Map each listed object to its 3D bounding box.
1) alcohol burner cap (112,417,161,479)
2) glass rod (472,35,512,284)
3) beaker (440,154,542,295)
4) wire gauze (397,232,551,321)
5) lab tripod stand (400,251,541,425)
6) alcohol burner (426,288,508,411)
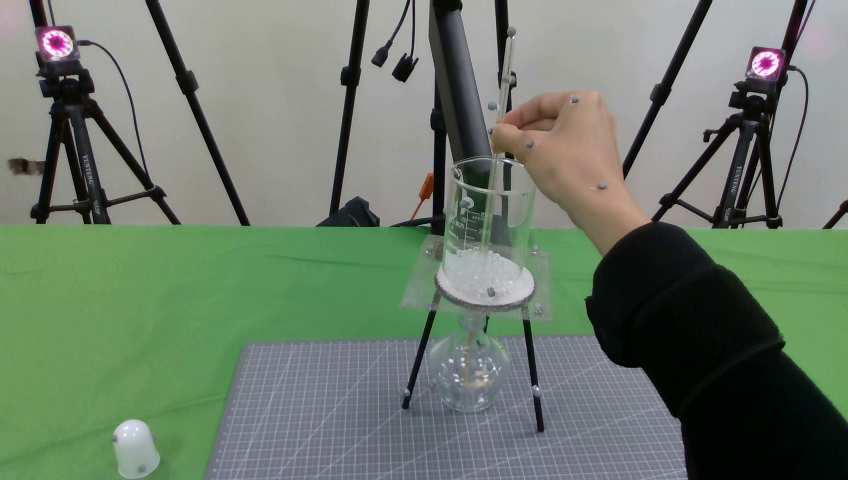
[{"bbox_3d":[-0.237,0.167,0.494,0.034,0.048,0.033,1,29,0],"label":"alcohol burner cap"},{"bbox_3d":[0.052,-0.054,0.470,0.008,0.201,0.008,4,25,-2],"label":"glass rod"},{"bbox_3d":[0.049,-0.013,0.504,0.083,0.101,0.074,28,37,36],"label":"beaker"},{"bbox_3d":[0.049,0.031,0.527,0.121,0.011,0.124,6,31,8],"label":"wire gauze"},{"bbox_3d":[0.053,0.089,0.558,0.148,0.132,0.147,4,28,-2],"label":"lab tripod stand"},{"bbox_3d":[0.041,0.097,0.562,0.078,0.120,0.077,1,27,0],"label":"alcohol burner"}]
